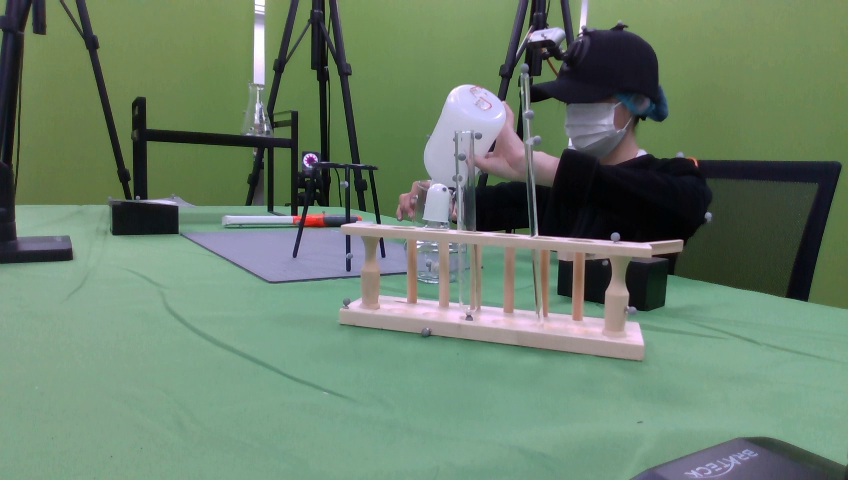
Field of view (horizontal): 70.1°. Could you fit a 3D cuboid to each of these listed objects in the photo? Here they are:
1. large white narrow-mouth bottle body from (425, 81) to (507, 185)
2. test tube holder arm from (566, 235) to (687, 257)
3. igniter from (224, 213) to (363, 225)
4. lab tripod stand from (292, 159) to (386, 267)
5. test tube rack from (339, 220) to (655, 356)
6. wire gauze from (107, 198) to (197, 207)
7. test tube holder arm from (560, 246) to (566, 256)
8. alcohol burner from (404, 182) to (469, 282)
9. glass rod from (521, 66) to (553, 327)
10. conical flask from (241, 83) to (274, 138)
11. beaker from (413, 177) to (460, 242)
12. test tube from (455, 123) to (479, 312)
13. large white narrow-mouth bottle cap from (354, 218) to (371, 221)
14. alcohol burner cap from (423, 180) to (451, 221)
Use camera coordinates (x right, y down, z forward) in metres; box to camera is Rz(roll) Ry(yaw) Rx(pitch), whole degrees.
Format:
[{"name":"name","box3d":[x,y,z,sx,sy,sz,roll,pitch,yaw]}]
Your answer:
[{"name":"large white narrow-mouth bottle body","box3d":[0.056,-0.153,0.983,0.102,0.194,0.101,13,46,-13]},{"name":"test tube holder arm","box3d":[0.215,0.006,0.629,0.179,0.015,0.013,-3,9,-30]},{"name":"igniter","box3d":[-0.255,-0.041,1.210,0.278,0.025,0.057,-2,-2,-31]},{"name":"lab tripod stand","box3d":[-0.105,-0.039,0.798,0.148,0.131,0.148,2,5,0]},{"name":"test tube rack","box3d":[0.056,0.032,0.495,0.242,0.085,0.067,4,7,15]},{"name":"wire gauze","box3d":[-0.462,-0.064,1.023,0.126,0.011,0.121,-2,7,-32]},{"name":"test tube holder arm","box3d":[0.173,0.007,0.611,0.088,0.015,0.010,-3,9,-30]},{"name":"alcohol burner","box3d":[0.015,-0.011,0.715,0.078,0.119,0.078,0,7,0]},{"name":"glass rod","box3d":[0.085,-0.028,0.454,0.008,0.199,0.008,-7,10,2]},{"name":"conical flask","box3d":[-0.384,-0.297,1.393,0.075,0.122,0.075,2,7,0]},{"name":"beaker","box3d":[0.020,-0.052,1.059,0.074,0.100,0.083,-8,26,-36]},{"name":"test tube","box3d":[0.034,-0.016,0.476,0.017,0.150,0.017,-2,10,1]},{"name":"large white narrow-mouth bottle cap","box3d":[-0.120,-0.029,1.184,0.038,0.024,0.037,2,8,0]},{"name":"alcohol burner cap","box3d":[0.017,-0.047,0.711,0.034,0.048,0.034,8,5,0]}]
